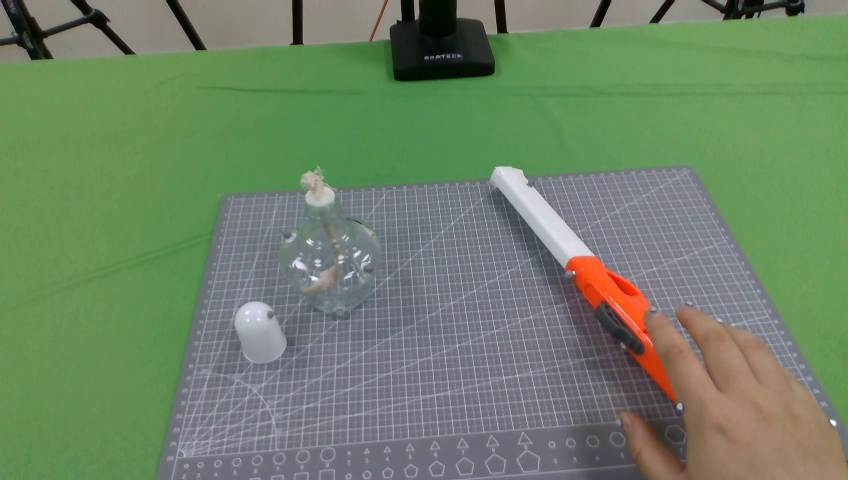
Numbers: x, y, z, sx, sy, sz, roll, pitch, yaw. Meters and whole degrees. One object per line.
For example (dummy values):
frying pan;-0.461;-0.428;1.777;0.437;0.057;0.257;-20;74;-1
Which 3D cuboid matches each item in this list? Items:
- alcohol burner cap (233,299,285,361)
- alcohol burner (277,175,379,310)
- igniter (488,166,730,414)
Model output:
alcohol burner cap;-0.121;0.062;0.438;0.034;0.048;0.033;0;46;1
alcohol burner;-0.072;-0.003;0.449;0.078;0.120;0.077;1;47;-1
igniter;0.129;0.024;0.477;0.057;0.025;0.273;-1;39;-31
